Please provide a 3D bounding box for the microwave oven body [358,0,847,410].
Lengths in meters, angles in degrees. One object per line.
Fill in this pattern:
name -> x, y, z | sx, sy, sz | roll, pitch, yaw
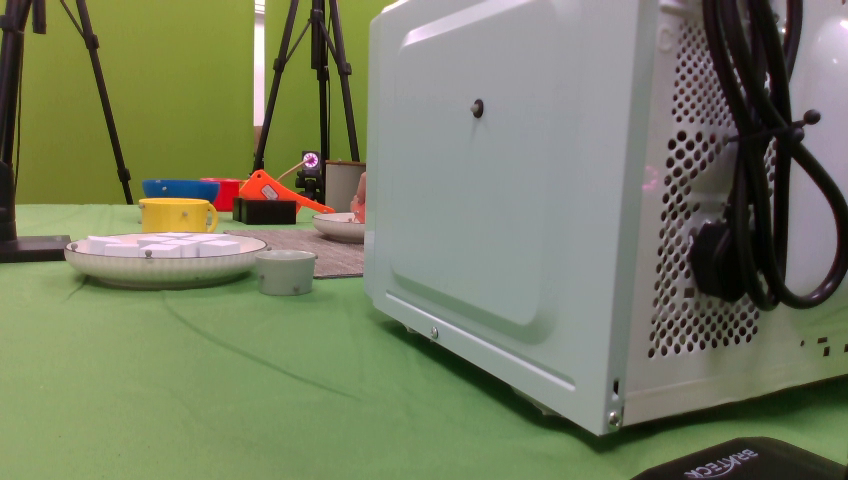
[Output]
microwave oven body -> 0.210, -0.051, 0.471 | 0.444, 0.260, 0.324 | -1, 7, -28

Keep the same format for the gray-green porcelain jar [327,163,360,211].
gray-green porcelain jar -> -0.187, -0.125, 1.490 | 0.106, 0.126, 0.106 | 1, 8, 0

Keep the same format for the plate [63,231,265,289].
plate -> -0.288, 0.021, 0.687 | 0.208, 0.039, 0.207 | 2, 8, 0

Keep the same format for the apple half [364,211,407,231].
apple half -> -0.068, -0.036, 1.103 | 0.081, 0.033, 0.081 | -1, 9, 0

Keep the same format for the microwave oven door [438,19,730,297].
microwave oven door -> 0.181, -0.076, 0.618 | 0.358, 0.243, 0.039 | -2, 8, -28

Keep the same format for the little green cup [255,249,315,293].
little green cup -> -0.144, 0.032, 0.627 | 0.061, 0.038, 0.061 | 2, 5, 0

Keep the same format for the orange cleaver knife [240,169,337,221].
orange cleaver knife -> -0.287, -0.082, 1.299 | 0.212, 0.077, 0.012 | 25, -2, -31

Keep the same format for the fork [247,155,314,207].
fork -> -0.360, -0.147, 1.522 | 0.207, 0.018, 0.028 | -43, 7, -7

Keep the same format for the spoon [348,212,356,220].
spoon -> -0.123, -0.047, 1.116 | 0.041, 0.021, 0.194 | -8, 17, 19

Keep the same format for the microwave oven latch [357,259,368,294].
microwave oven latch -> -0.019, 0.031, 0.530 | 0.079, 0.029, 0.030 | -1, 7, -28

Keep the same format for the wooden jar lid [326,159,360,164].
wooden jar lid -> -0.185, -0.187, 1.481 | 0.108, 0.020, 0.108 | 4, 6, 0

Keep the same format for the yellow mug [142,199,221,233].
yellow mug -> -0.372, -0.030, 0.948 | 0.099, 0.064, 0.131 | 6, 7, 30

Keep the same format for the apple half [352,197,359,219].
apple half -> -0.071, -0.052, 1.016 | 0.081, 0.053, 0.074 | 15, 36, -47

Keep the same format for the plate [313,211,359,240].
plate -> -0.091, -0.026, 1.063 | 0.209, 0.038, 0.209 | 2, 7, 0

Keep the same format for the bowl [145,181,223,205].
bowl -> -0.499, -0.081, 1.261 | 0.151, 0.077, 0.151 | 2, 8, 0
